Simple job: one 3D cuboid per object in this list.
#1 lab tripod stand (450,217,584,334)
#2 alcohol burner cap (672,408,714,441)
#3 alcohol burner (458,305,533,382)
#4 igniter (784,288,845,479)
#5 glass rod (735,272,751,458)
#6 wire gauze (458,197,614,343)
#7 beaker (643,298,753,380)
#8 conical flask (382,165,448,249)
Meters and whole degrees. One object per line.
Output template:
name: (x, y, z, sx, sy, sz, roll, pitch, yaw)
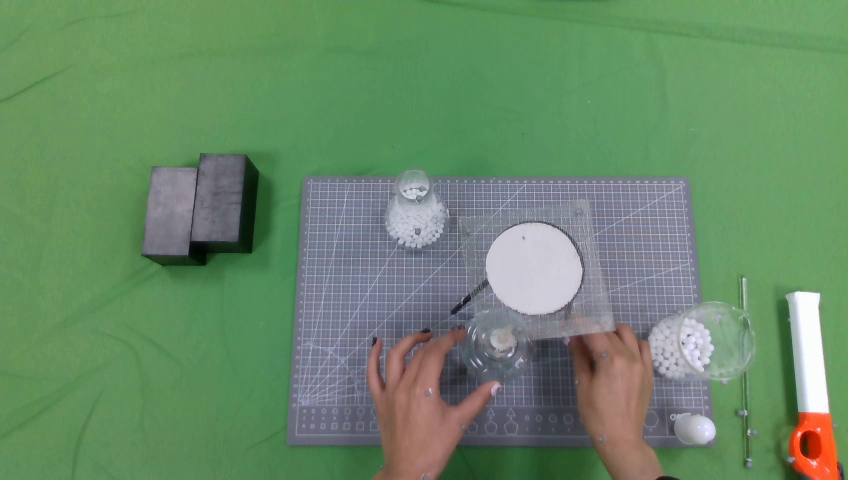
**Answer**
lab tripod stand: (0.098, 0.041, 0.611, 0.148, 0.132, 0.147, 0, 77, 1)
alcohol burner cap: (0.279, 0.190, 0.621, 0.034, 0.048, 0.033, 0, 76, 0)
alcohol burner: (0.073, 0.101, 0.607, 0.078, 0.120, 0.077, 0, 74, 2)
igniter: (0.405, 0.187, 0.632, 0.057, 0.025, 0.275, 5, 76, -9)
glass rod: (0.346, 0.132, 0.656, 0.008, 0.008, 0.198, 4, 76, 1)
wire gauze: (0.100, 0.026, 0.545, 0.125, 0.011, 0.121, -7, 76, -1)
beaker: (0.273, 0.101, 0.614, 0.084, 0.100, 0.073, -36, 79, -9)
conical flask: (-0.011, -0.039, 0.637, 0.075, 0.122, 0.075, 0, 75, 1)
